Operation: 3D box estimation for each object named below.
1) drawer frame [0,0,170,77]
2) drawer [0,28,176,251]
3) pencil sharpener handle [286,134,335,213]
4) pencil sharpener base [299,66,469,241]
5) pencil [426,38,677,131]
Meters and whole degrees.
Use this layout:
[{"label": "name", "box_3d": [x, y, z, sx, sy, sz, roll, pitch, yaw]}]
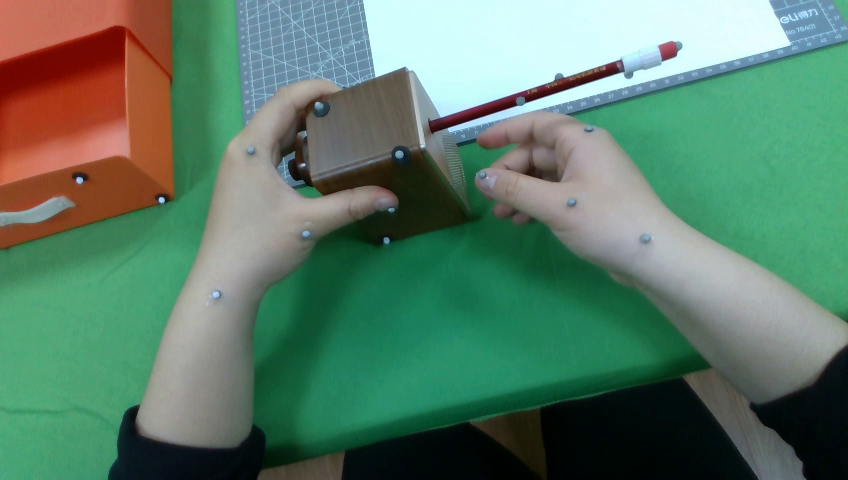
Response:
[{"label": "drawer frame", "box_3d": [-0.336, -0.214, 0.539, 0.201, 0.083, 0.211, -15, 65, 6]}, {"label": "drawer", "box_3d": [-0.311, -0.108, 0.494, 0.194, 0.074, 0.210, -16, 65, 6]}, {"label": "pencil sharpener handle", "box_3d": [-0.075, -0.038, 0.391, 0.030, 0.068, 0.035, -15, 61, 15]}, {"label": "pencil sharpener base", "box_3d": [-0.023, -0.049, 0.391, 0.076, 0.108, 0.061, -15, 67, 15]}, {"label": "pencil", "box_3d": [0.044, -0.079, 0.347, 0.194, 0.012, 0.012, -15, 66, 13]}]
